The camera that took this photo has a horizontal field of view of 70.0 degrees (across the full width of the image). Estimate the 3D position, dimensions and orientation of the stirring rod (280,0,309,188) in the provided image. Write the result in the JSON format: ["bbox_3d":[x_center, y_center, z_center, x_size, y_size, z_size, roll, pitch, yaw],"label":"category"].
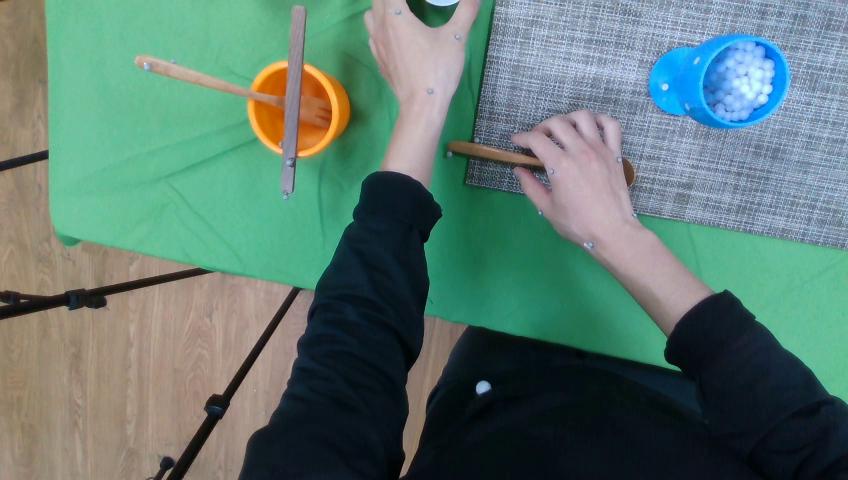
[{"bbox_3d":[-0.124,-0.136,0.579,0.014,0.006,0.177,10,107,6],"label":"stirring rod"}]

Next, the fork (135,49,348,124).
[{"bbox_3d":[-0.166,-0.147,0.584,0.209,0.018,0.028,8,120,-40],"label":"fork"}]

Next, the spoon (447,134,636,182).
[{"bbox_3d":[0.119,-0.091,0.623,0.193,0.021,0.042,9,129,5],"label":"spoon"}]

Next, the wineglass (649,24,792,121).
[{"bbox_3d":[0.241,-0.141,0.512,0.073,0.171,0.074,2,106,8],"label":"wineglass"}]
